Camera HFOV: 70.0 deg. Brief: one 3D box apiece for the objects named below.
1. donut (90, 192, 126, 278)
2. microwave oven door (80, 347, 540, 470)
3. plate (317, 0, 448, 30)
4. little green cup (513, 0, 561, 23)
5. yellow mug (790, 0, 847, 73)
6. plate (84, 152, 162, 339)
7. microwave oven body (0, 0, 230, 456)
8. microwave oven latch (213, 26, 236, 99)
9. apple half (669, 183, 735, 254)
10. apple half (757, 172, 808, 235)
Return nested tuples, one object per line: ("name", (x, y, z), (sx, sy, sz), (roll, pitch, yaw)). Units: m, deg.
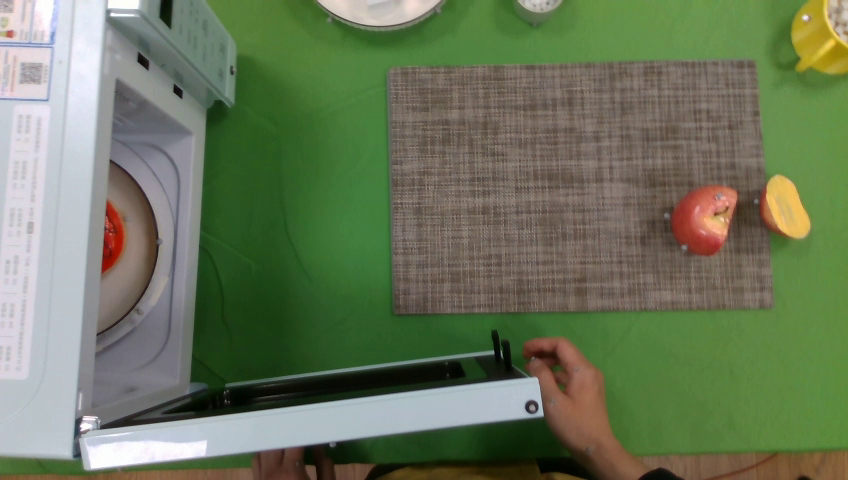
("donut", (-0.364, -0.006, 0.636), (0.099, 0.048, 0.099), (0, 87, 0))
("microwave oven door", (-0.085, 0.150, 0.577), (0.356, 0.244, 0.039), (-7, 84, -1))
("plate", (-0.050, -0.352, 0.739), (0.208, 0.039, 0.207), (0, 85, 0))
("little green cup", (0.137, -0.297, 0.734), (0.061, 0.039, 0.061), (0, 85, 1))
("yellow mug", (0.491, -0.248, 0.717), (0.131, 0.064, 0.100), (-43, 87, -2))
("plate", (-0.381, 0.005, 0.645), (0.209, 0.038, 0.208), (0, 85, -1))
("microwave oven body", (-0.391, -0.045, 0.597), (0.326, 0.260, 0.440), (2, 86, 0))
("microwave oven latch", (-0.237, -0.207, 0.707), (0.030, 0.029, 0.079), (3, 86, 0))
("apple half", (0.309, -0.029, 0.691), (0.053, 0.075, 0.080), (18, 89, 6))
("apple half", (0.410, -0.038, 0.708), (0.082, 0.033, 0.081), (11, 68, -28))
